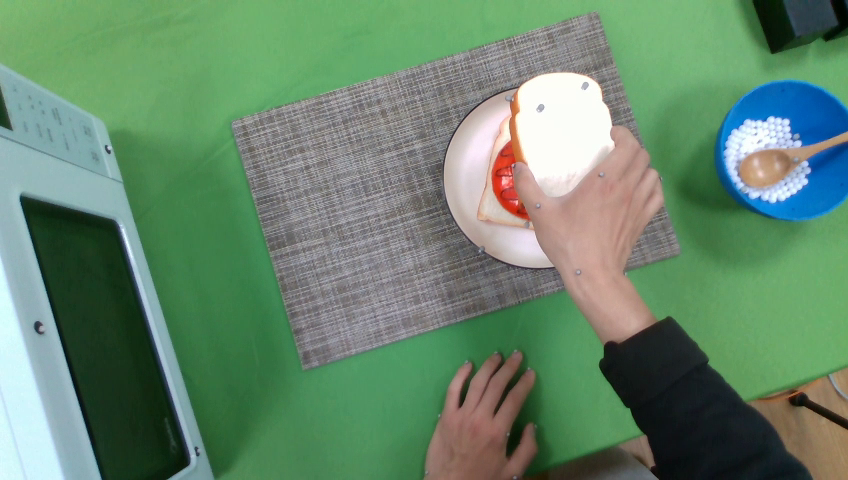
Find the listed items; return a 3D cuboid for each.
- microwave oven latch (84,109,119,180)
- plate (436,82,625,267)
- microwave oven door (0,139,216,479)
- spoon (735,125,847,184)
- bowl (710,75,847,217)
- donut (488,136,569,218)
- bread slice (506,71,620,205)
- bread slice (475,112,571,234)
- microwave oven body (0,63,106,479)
[{"bbox_3d":[-0.368,-0.102,0.673,0.030,0.029,0.079,-19,86,-2],"label":"microwave oven latch"},{"bbox_3d":[0.117,-0.072,0.682,0.208,0.039,0.207,0,85,0],"label":"plate"},{"bbox_3d":[-0.300,0.094,0.555,0.039,0.244,0.355,-20,85,-1],"label":"microwave oven door"},{"bbox_3d":[0.427,-0.107,0.635,0.193,0.022,0.041,-22,80,20],"label":"spoon"},{"bbox_3d":[0.379,-0.095,0.666,0.151,0.077,0.151,0,85,0],"label":"bowl"},{"bbox_3d":[0.118,-0.072,0.654,0.099,0.048,0.099,0,86,1],"label":"donut"},{"bbox_3d":[0.130,-0.100,0.586,0.105,0.019,0.131,-5,80,-9],"label":"bread slice"},{"bbox_3d":[0.118,-0.079,0.683,0.107,0.018,0.134,8,86,1],"label":"bread slice"},{"bbox_3d":[-0.452,0.103,0.560,0.326,0.260,0.440,-19,86,-2],"label":"microwave oven body"}]
